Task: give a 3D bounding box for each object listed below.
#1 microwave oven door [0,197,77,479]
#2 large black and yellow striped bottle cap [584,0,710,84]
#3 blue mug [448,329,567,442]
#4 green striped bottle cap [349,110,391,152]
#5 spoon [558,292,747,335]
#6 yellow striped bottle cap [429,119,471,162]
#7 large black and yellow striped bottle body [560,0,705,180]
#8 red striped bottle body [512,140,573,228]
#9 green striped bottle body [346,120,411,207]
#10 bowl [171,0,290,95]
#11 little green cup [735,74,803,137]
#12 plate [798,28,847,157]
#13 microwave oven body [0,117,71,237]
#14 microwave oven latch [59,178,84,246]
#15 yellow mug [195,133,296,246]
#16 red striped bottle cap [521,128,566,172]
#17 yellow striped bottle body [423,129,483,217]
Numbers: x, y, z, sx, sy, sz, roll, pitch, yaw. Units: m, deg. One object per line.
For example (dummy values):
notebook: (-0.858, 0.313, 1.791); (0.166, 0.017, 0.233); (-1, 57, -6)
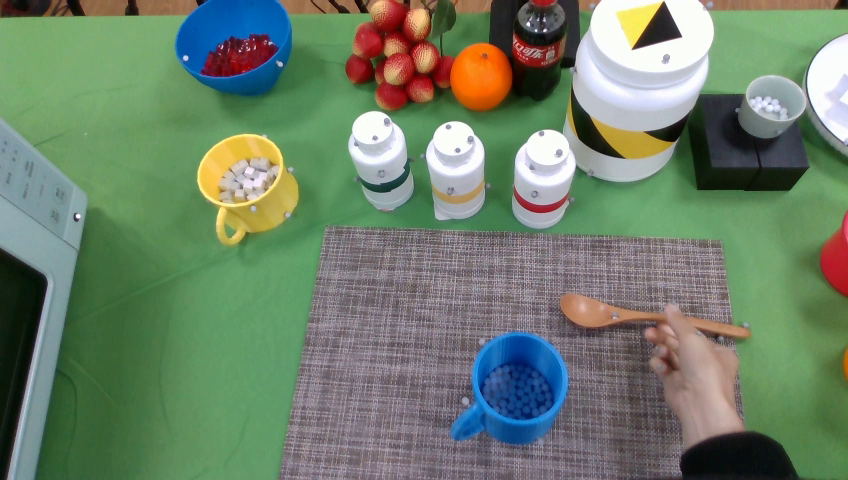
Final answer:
microwave oven door: (-0.422, 0.118, 0.532); (0.039, 0.246, 0.352); (-7, 64, 3)
large black and yellow striped bottle cap: (0.213, -0.201, 0.584); (0.115, 0.019, 0.114); (-2, 63, 5)
blue mug: (0.072, 0.147, 0.563); (0.116, 0.107, 0.081); (-32, 65, -10)
green striped bottle cap: (-0.057, -0.115, 0.640); (0.044, 0.020, 0.044); (-2, 62, 4)
spoon: (0.235, 0.080, 0.626); (0.193, 0.022, 0.041); (6, 43, 8)
yellow striped bottle cap: (0.027, -0.103, 0.626); (0.044, 0.019, 0.044); (0, 62, 0)
large black and yellow striped bottle body: (0.222, -0.165, 0.660); (0.131, 0.185, 0.129); (-2, 64, 5)
red striped bottle body: (0.127, -0.067, 0.657); (0.063, 0.121, 0.062); (-3, 62, 7)
green striped bottle body: (-0.052, -0.092, 0.687); (0.063, 0.120, 0.062); (-2, 64, 4)
bowl: (-0.243, -0.247, 0.803); (0.151, 0.077, 0.150); (-2, 64, 4)
little green cup: (0.372, -0.145, 0.660); (0.061, 0.039, 0.061); (-1, 62, 2)
plate: (0.545, -0.163, 0.709); (0.209, 0.038, 0.207); (-2, 65, 5)
microwave oven body: (-0.569, 0.099, 0.562); (0.326, 0.262, 0.438); (-6, 64, 2)
microwave oven latch: (-0.427, -0.033, 0.719); (0.030, 0.030, 0.078); (-5, 65, 3)
yellow mug: (-0.215, -0.054, 0.714); (0.099, 0.064, 0.130); (11, 66, 11)
red striped bottle cap: (0.121, -0.091, 0.611); (0.044, 0.018, 0.044); (0, 63, 1)
yellow striped bottle body: (0.034, -0.080, 0.672); (0.063, 0.121, 0.062); (-2, 63, 5)
